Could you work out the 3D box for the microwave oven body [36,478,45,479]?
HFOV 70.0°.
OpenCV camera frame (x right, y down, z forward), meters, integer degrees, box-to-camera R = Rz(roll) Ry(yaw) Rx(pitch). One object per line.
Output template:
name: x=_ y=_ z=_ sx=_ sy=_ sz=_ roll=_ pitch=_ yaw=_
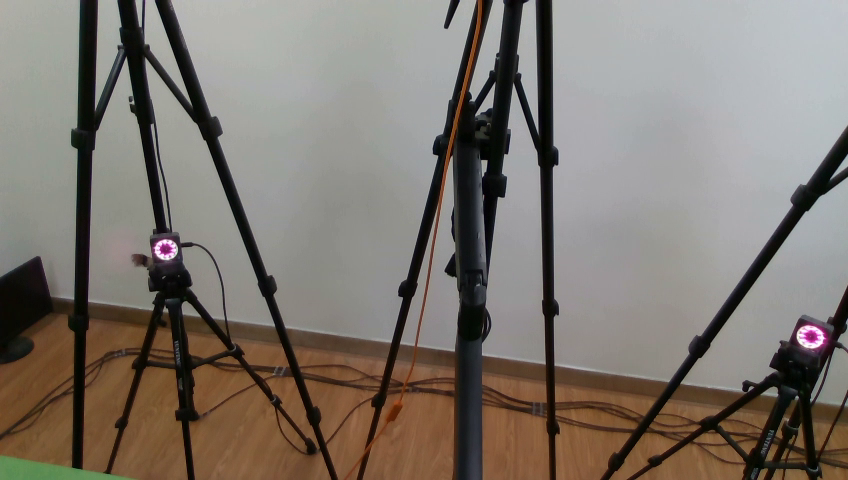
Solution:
microwave oven body: x=-0.502 y=0.525 z=0.599 sx=0.323 sy=0.262 sz=0.442 roll=23 pitch=34 yaw=29
